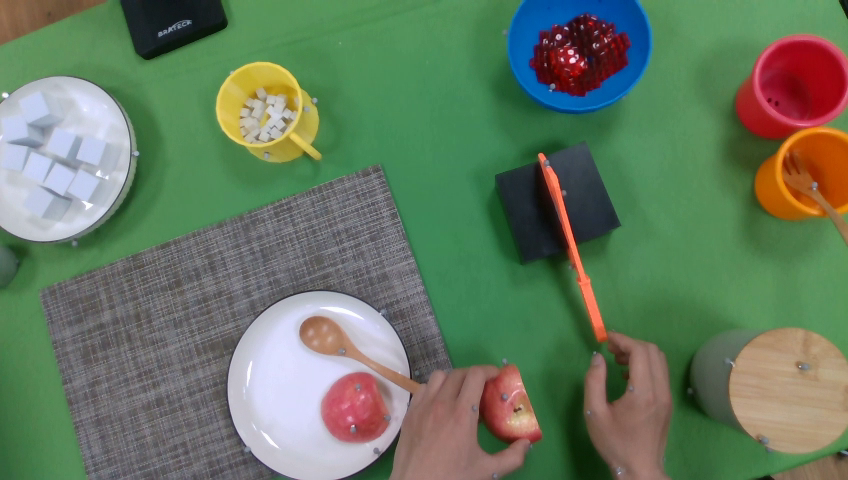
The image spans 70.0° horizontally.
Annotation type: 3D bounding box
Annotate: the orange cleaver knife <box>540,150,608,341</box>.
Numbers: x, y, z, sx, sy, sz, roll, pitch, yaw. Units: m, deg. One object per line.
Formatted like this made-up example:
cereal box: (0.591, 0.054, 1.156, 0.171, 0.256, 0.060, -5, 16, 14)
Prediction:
orange cleaver knife: (0.159, 0.007, 0.647, 0.012, 0.077, 0.212, -18, 106, 7)

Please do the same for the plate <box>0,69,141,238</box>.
plate: (-0.443, -0.103, 0.745, 0.207, 0.039, 0.207, -1, 84, 6)

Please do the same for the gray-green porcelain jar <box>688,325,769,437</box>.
gray-green porcelain jar: (0.327, 0.136, 0.594, 0.106, 0.127, 0.105, -1, 83, 7)

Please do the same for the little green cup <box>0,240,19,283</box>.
little green cup: (-0.532, 0.026, 0.738, 0.061, 0.039, 0.061, 0, 84, 4)

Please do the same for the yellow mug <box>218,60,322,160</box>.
yellow mug: (-0.168, -0.140, 0.706, 0.130, 0.064, 0.100, 41, 89, 8)

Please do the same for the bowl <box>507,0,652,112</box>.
bowl: (0.167, -0.206, 0.672, 0.151, 0.077, 0.151, -1, 84, 6)

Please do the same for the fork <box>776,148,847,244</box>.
fork: (0.396, -0.028, 0.593, 0.028, 0.019, 0.205, -4, 40, 5)

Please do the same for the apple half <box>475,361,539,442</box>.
apple half: (0.080, 0.169, 0.623, 0.053, 0.074, 0.081, -19, 92, -1)

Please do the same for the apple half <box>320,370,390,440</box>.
apple half: (-0.080, 0.185, 0.665, 0.081, 0.033, 0.081, -1, 81, 8)

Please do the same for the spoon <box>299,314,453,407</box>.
spoon: (-0.055, 0.134, 0.661, 0.192, 0.022, 0.041, 25, 76, 20)

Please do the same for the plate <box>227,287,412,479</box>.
plate: (-0.115, 0.157, 0.678, 0.209, 0.038, 0.208, -1, 84, 6)

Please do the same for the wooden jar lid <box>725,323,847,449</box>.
wooden jar lid: (0.319, 0.127, 0.533, 0.108, 0.021, 0.108, 0, 86, 5)
